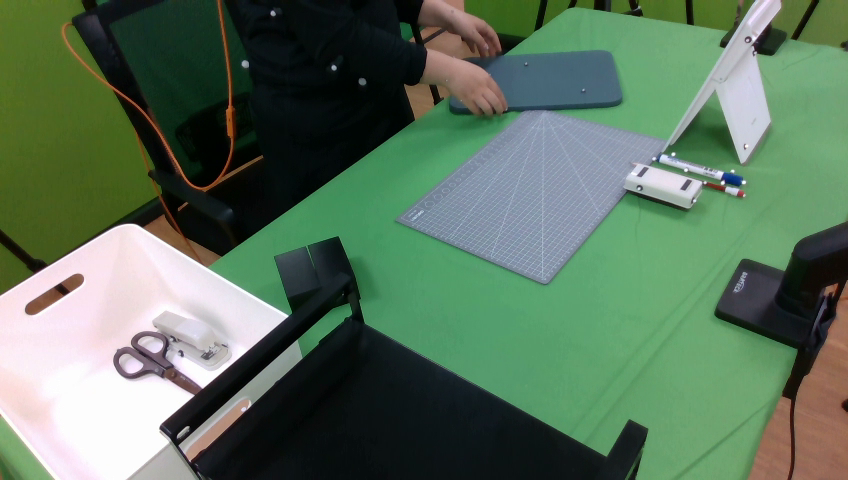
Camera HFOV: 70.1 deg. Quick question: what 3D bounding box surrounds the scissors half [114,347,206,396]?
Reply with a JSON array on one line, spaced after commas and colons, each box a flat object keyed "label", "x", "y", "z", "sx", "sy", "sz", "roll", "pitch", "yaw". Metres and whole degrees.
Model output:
[{"label": "scissors half", "x": -0.349, "y": 0.185, "z": 0.810, "sx": 0.174, "sy": 0.013, "sz": 0.040, "roll": 15, "pitch": 52, "yaw": 19}]

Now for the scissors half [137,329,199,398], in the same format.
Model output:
[{"label": "scissors half", "x": -0.336, "y": 0.172, "z": 0.822, "sx": 0.040, "sy": 0.013, "sz": 0.174, "roll": -36, "pitch": 53, "yaw": -29}]

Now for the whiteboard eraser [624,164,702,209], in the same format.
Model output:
[{"label": "whiteboard eraser", "x": 0.396, "y": -0.087, "z": 1.003, "sx": 0.112, "sy": 0.042, "sz": 0.056, "roll": 22, "pitch": 47, "yaw": 31}]

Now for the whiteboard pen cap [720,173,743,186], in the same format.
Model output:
[{"label": "whiteboard pen cap", "x": 0.519, "y": -0.103, "z": 1.020, "sx": 0.033, "sy": 0.018, "sz": 0.018, "roll": 23, "pitch": 49, "yaw": 30}]

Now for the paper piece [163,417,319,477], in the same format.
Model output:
[{"label": "paper piece", "x": -0.229, "y": 0.236, "z": 0.760, "sx": 0.137, "sy": 0.008, "sz": 0.137, "roll": 33, "pitch": 37, "yaw": 29}]

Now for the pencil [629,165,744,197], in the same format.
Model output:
[{"label": "pencil", "x": 0.447, "y": -0.103, "z": 1.038, "sx": 0.192, "sy": 0.012, "sz": 0.012, "roll": 21, "pitch": 48, "yaw": 29}]

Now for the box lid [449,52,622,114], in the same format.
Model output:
[{"label": "box lid", "x": 0.249, "y": -0.358, "z": 1.370, "sx": 0.371, "sy": 0.015, "sz": 0.262, "roll": -1, "pitch": 40, "yaw": 9}]

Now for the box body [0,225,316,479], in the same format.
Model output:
[{"label": "box body", "x": -0.339, "y": 0.162, "z": 0.728, "sx": 0.361, "sy": 0.161, "sz": 0.255, "roll": 23, "pitch": 48, "yaw": 31}]

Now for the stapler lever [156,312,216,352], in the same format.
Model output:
[{"label": "stapler lever", "x": -0.331, "y": 0.122, "z": 0.835, "sx": 0.117, "sy": 0.040, "sz": 0.027, "roll": 17, "pitch": 43, "yaw": 33}]

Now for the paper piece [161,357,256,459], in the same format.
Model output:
[{"label": "paper piece", "x": -0.233, "y": 0.219, "z": 0.749, "sx": 0.134, "sy": 0.004, "sz": 0.136, "roll": 25, "pitch": 51, "yaw": 33}]

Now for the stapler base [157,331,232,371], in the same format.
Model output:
[{"label": "stapler base", "x": -0.326, "y": 0.142, "z": 0.849, "sx": 0.129, "sy": 0.024, "sz": 0.041, "roll": 18, "pitch": 43, "yaw": 32}]

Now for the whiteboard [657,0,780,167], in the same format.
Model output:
[{"label": "whiteboard", "x": 0.571, "y": -0.272, "z": 1.038, "sx": 0.143, "sy": 0.306, "sz": 0.218, "roll": 37, "pitch": 54, "yaw": 17}]

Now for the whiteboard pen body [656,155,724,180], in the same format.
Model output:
[{"label": "whiteboard pen body", "x": 0.474, "y": -0.123, "z": 1.051, "sx": 0.139, "sy": 0.017, "sz": 0.017, "roll": 24, "pitch": 49, "yaw": 32}]
